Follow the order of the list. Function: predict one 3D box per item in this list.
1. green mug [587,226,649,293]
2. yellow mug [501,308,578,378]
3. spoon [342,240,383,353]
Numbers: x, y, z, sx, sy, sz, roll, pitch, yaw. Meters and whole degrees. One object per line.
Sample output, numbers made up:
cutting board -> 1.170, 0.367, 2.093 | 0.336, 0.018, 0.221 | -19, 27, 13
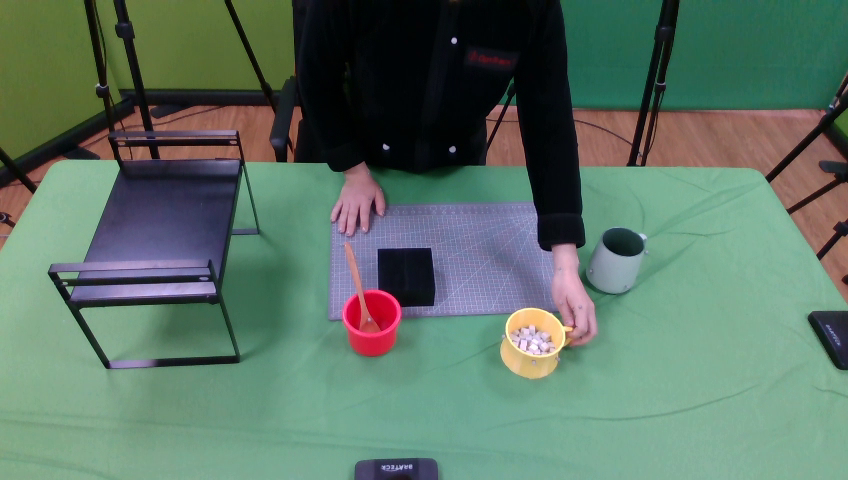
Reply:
green mug -> 0.372, 0.030, 1.136 | 0.125, 0.105, 0.092 | -27, 53, -26
yellow mug -> 0.197, 0.169, 1.018 | 0.131, 0.064, 0.099 | -9, 47, -13
spoon -> -0.106, 0.094, 1.014 | 0.042, 0.021, 0.193 | -14, 93, -13
